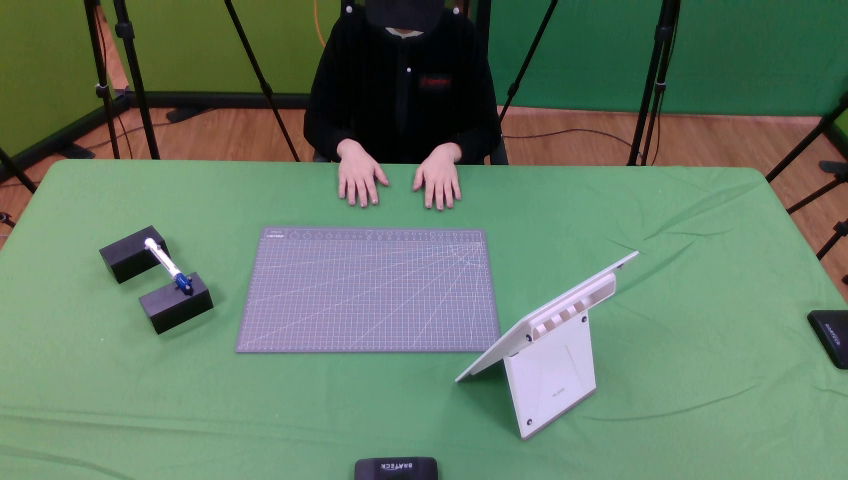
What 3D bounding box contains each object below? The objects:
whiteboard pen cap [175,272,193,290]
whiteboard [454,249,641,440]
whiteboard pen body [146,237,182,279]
[{"bbox_3d":[-0.409,0.069,1.032,0.018,0.018,0.033,-32,56,-29],"label":"whiteboard pen cap"},{"bbox_3d":[0.206,0.174,0.890,0.217,0.306,0.143,-24,72,-25],"label":"whiteboard"},{"bbox_3d":[-0.449,0.038,1.061,0.017,0.017,0.140,-33,57,-30],"label":"whiteboard pen body"}]
